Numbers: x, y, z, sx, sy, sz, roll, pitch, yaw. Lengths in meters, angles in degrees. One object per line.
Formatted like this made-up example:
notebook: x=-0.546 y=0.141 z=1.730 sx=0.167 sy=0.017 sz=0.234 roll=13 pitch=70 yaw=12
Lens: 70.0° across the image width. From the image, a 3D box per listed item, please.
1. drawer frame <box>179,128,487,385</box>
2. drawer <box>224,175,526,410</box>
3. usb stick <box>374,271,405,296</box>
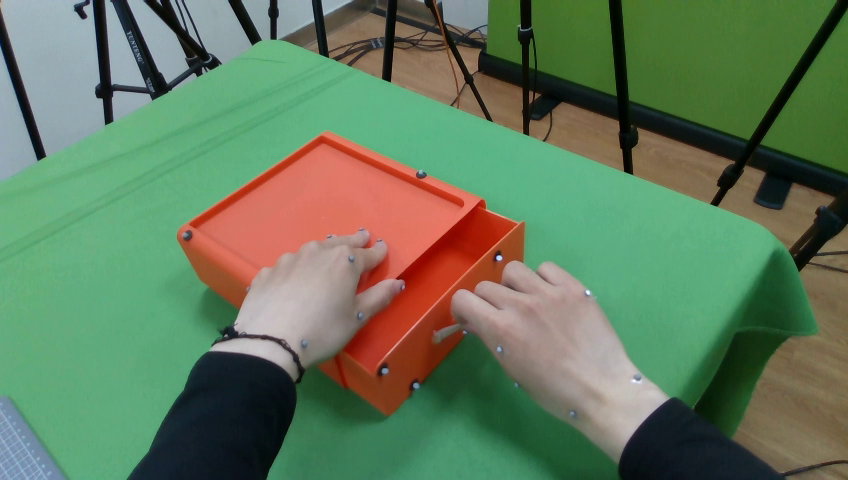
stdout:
drawer frame: x=-0.081 y=0.001 z=0.576 sx=0.211 sy=0.083 sz=0.201 roll=26 pitch=54 yaw=31
drawer: x=-0.046 y=0.020 z=0.553 sx=0.210 sy=0.074 sz=0.194 roll=28 pitch=55 yaw=31
usb stick: x=-0.045 y=0.034 z=0.565 sx=0.059 sy=0.027 sz=0.021 roll=-27 pitch=49 yaw=-19
